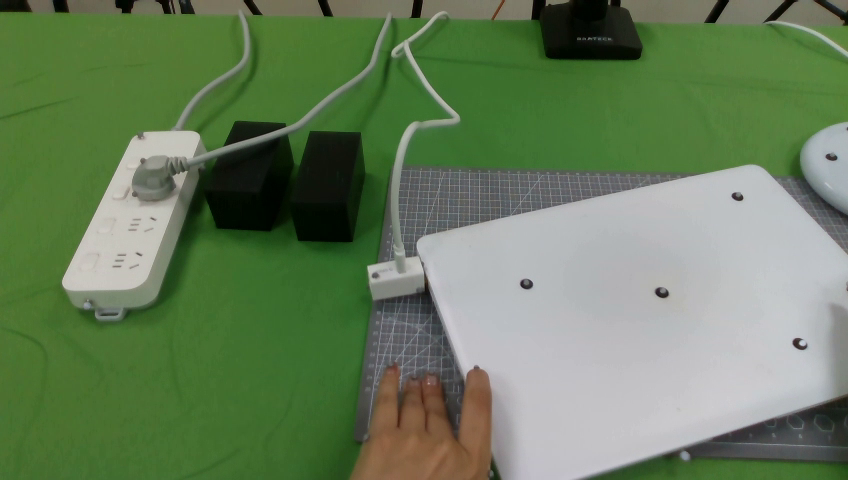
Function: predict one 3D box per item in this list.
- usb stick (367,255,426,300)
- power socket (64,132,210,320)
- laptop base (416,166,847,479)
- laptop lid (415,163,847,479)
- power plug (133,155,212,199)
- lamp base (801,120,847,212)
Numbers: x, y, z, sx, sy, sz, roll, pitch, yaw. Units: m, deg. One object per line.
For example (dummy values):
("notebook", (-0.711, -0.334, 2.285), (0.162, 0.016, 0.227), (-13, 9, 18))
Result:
("usb stick", (-0.017, 0.030, 0.501), (0.059, 0.027, 0.021), (-8, 42, -12))
("power socket", (-0.258, -0.027, 0.562), (0.072, 0.033, 0.224), (0, 47, -1))
("laptop base", (0.190, 0.051, 0.498), (0.355, 0.023, 0.233), (-12, 52, -11))
("laptop lid", (0.190, 0.045, 0.488), (0.357, 0.013, 0.239), (-11, 51, -10))
("power plug", (-0.228, -0.050, 0.551), (0.072, 0.053, 0.035), (7, 48, 7))
("lamp base", (0.465, -0.125, 0.547), (0.159, 0.182, 0.179), (32, 52, 27))
